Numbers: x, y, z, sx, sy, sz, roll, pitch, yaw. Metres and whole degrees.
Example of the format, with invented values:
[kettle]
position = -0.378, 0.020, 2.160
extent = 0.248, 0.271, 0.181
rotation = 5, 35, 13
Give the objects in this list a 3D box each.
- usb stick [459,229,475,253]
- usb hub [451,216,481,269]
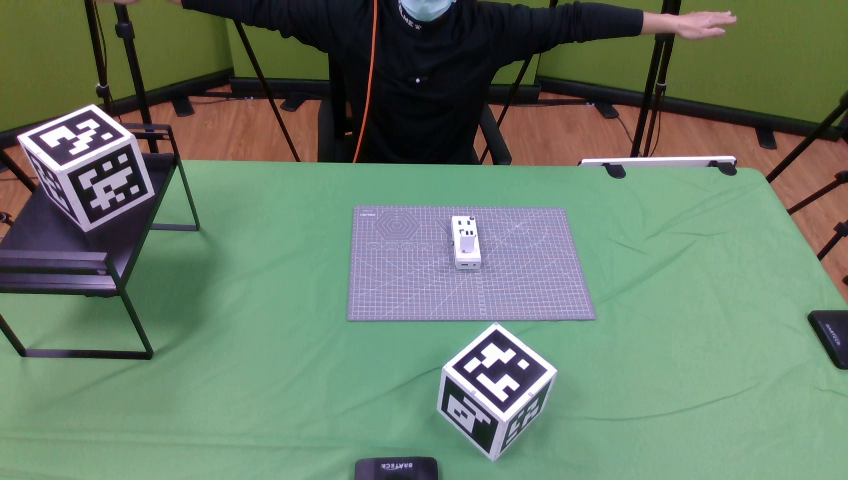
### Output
[usb stick]
position = 0.081, 0.006, 1.150
extent = 0.027, 0.059, 0.021
rotation = -1, 45, -6
[usb hub]
position = 0.082, 0.004, 1.194
extent = 0.049, 0.025, 0.124
rotation = 1, 46, -4
